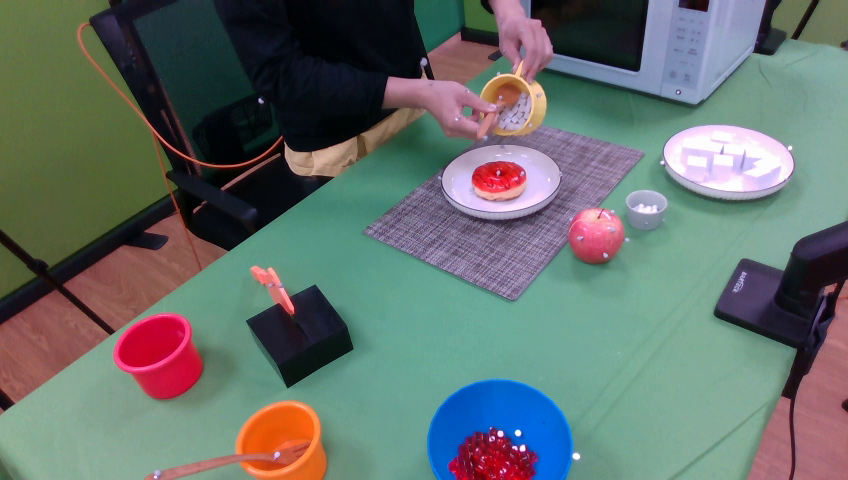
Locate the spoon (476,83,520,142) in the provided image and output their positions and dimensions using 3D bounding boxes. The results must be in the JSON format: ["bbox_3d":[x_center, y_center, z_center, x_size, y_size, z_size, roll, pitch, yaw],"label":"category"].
[{"bbox_3d":[0.115,-0.208,0.972,0.041,0.022,0.194,19,40,13],"label":"spoon"}]

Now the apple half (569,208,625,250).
[{"bbox_3d":[0.262,-0.014,0.913,0.080,0.075,0.053,5,37,20],"label":"apple half"}]

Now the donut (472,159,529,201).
[{"bbox_3d":[0.132,-0.105,1.043,0.099,0.048,0.098,-5,38,4],"label":"donut"}]

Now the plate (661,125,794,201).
[{"bbox_3d":[0.513,-0.128,1.035,0.207,0.039,0.206,-4,40,4],"label":"plate"}]

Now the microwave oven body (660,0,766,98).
[{"bbox_3d":[0.472,-0.513,1.317,0.438,0.261,0.327,26,51,34],"label":"microwave oven body"}]

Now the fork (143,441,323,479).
[{"bbox_3d":[-0.189,0.231,0.631,0.028,0.018,0.209,35,13,37],"label":"fork"}]

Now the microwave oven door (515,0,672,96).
[{"bbox_3d":[0.343,-0.455,1.259,0.353,0.245,0.039,26,51,33],"label":"microwave oven door"}]

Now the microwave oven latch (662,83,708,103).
[{"bbox_3d":[0.518,-0.297,1.204,0.078,0.029,0.030,28,52,35],"label":"microwave oven latch"}]

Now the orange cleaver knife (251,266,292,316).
[{"bbox_3d":[-0.221,0.071,0.873,0.012,0.077,0.210,-25,11,-21],"label":"orange cleaver knife"}]

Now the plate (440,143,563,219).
[{"bbox_3d":[0.134,-0.098,1.052,0.209,0.038,0.208,-4,40,4],"label":"plate"}]

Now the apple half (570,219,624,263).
[{"bbox_3d":[0.250,0.009,0.885,0.081,0.081,0.033,7,39,17],"label":"apple half"}]

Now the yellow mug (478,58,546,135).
[{"bbox_3d":[0.154,-0.243,1.025,0.099,0.131,0.064,25,20,24],"label":"yellow mug"}]

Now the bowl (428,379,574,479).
[{"bbox_3d":[0.082,0.233,0.644,0.151,0.077,0.150,-4,40,4],"label":"bowl"}]

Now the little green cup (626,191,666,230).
[{"bbox_3d":[0.352,-0.046,0.963,0.061,0.039,0.061,-4,40,4],"label":"little green cup"}]
